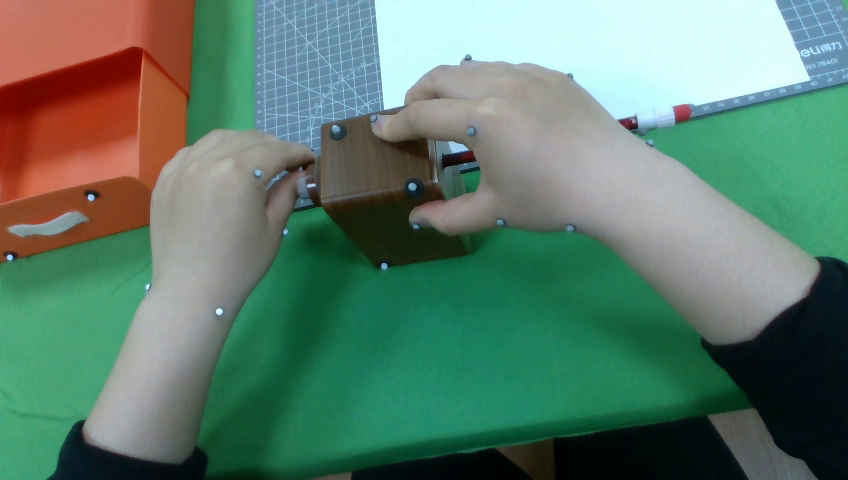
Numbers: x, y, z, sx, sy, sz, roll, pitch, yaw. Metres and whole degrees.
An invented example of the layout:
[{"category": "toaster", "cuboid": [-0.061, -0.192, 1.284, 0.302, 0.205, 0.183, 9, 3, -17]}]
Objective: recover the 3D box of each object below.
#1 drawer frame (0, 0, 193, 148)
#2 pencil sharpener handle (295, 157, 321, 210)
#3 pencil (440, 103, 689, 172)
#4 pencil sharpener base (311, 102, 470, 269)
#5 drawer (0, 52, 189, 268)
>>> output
[{"category": "drawer frame", "cuboid": [-0.321, -0.204, 0.562, 0.201, 0.083, 0.211, -13, 64, 10]}, {"category": "pencil sharpener handle", "cuboid": [-0.073, -0.037, 0.392, 0.030, 0.036, 0.067, -10, 21, 12]}, {"category": "pencil", "cuboid": [0.053, -0.053, 0.352, 0.194, 0.012, 0.012, -11, 65, 9]}, {"category": "pencil sharpener base", "cuboid": [-0.018, -0.029, 0.393, 0.076, 0.108, 0.061, -10, 65, 12]}, {"category": "drawer", "cuboid": [-0.304, -0.097, 0.516, 0.194, 0.074, 0.210, -14, 64, 10]}]
